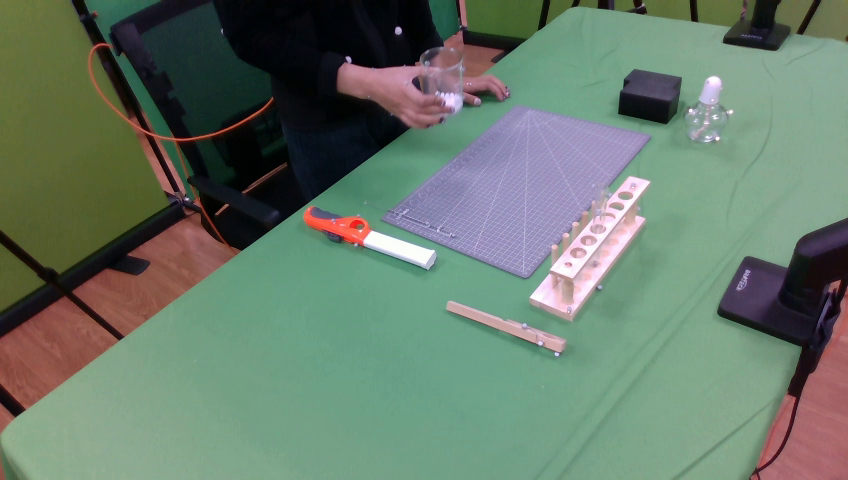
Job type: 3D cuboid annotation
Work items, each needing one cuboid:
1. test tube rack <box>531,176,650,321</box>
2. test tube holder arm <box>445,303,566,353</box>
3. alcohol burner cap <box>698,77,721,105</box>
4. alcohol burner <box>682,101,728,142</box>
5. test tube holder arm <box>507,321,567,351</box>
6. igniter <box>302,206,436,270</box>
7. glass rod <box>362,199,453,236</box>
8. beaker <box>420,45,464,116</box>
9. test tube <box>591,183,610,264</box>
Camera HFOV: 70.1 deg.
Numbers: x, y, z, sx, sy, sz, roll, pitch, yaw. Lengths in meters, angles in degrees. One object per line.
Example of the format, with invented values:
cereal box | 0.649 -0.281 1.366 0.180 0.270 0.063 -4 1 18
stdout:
test tube rack | 0.246 0.002 0.884 0.066 0.085 0.243 22 49 32
test tube holder arm | 0.107 0.117 0.824 0.177 0.015 0.013 16 11 27
alcohol burner cap | 0.509 -0.266 1.072 0.034 0.048 0.033 -4 48 4
alcohol burner | 0.513 -0.239 1.097 0.078 0.119 0.077 -4 40 4
test tube holder arm | 0.148 0.128 0.808 0.087 0.015 0.010 16 11 28
igniter | -0.101 -0.007 1.004 0.274 0.025 0.057 20 58 29
glass rod | -0.032 -0.041 1.041 0.198 0.008 0.008 22 50 31
beaker | 0.031 -0.274 1.057 0.073 0.101 0.084 17 50 21
test tube | 0.242 -0.019 0.832 0.017 0.151 0.017 -5 46 6
